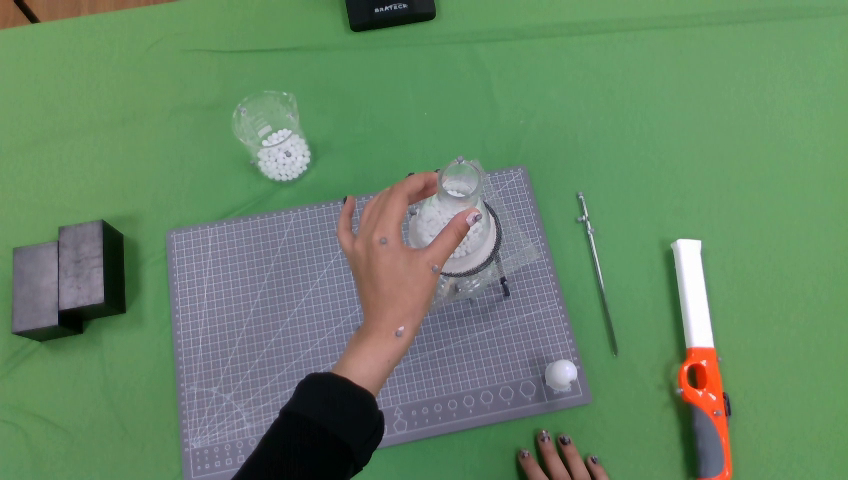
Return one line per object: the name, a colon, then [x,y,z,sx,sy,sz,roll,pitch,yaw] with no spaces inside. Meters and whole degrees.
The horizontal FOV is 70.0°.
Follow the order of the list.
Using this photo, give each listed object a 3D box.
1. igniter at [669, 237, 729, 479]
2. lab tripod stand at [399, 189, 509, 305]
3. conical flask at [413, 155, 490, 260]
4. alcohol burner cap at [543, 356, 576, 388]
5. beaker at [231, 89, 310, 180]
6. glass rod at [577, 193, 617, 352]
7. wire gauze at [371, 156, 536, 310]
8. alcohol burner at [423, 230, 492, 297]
igniter: [0.306,0.129,0.679,0.057,0.025,0.274,4,71,-9]
lab tripod stand: [0.030,0.014,0.658,0.148,0.132,0.147,0,73,0]
conical flask: [0.027,-0.032,0.542,0.075,0.122,0.075,0,73,-1]
alcohol burner cap: [0.150,0.143,0.663,0.034,0.048,0.033,0,71,0]
beaker: [-0.178,-0.124,0.726,0.073,0.101,0.084,36,74,11]
glass rod: [0.204,0.034,0.720,0.008,0.008,0.198,-6,71,-2]
wire gauze: [0.028,-0.008,0.596,0.125,0.011,0.121,-26,76,-10]
alcohol burner: [0.038,0.021,0.667,0.078,0.120,0.077,1,71,-1]
